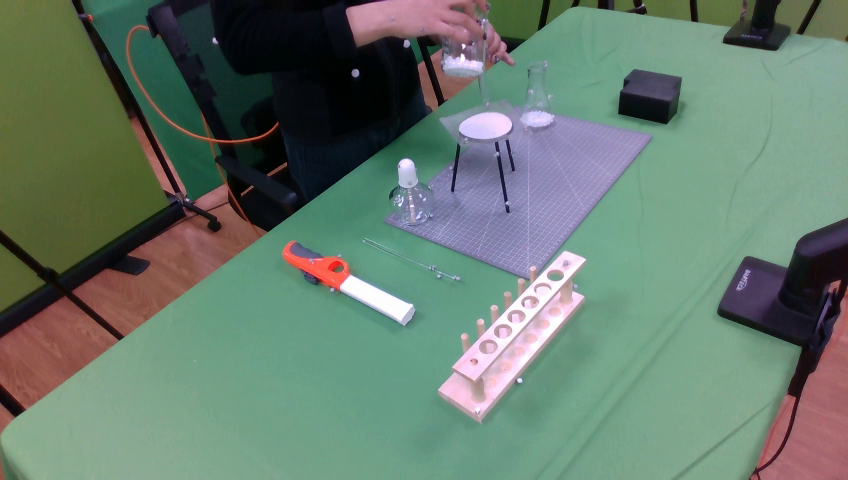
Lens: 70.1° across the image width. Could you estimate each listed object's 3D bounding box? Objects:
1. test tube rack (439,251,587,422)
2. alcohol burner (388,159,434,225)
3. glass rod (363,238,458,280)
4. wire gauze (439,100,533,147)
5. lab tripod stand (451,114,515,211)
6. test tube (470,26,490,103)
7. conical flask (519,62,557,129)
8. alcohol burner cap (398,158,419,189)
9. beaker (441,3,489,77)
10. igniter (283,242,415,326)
[{"bbox_3d":[0.118,0.111,0.780,0.066,0.085,0.243,26,51,35],"label":"test tube rack"},{"bbox_3d":[-0.023,-0.085,1.013,0.078,0.119,0.077,-4,38,4],"label":"alcohol burner"},{"bbox_3d":[-0.026,0.029,0.966,0.198,0.008,0.008,21,49,35],"label":"glass rod"},{"bbox_3d":[0.100,-0.190,0.994,0.125,0.011,0.120,-15,39,-7],"label":"wire gauze"},{"bbox_3d":[0.113,-0.140,1.037,0.148,0.132,0.147,-6,38,5],"label":"lab tripod stand"},{"bbox_3d":[0.101,-0.308,1.072,0.017,0.151,0.017,-8,46,9],"label":"test tube"},{"bbox_3d":[0.225,-0.287,1.198,0.075,0.122,0.075,-6,40,5],"label":"conical flask"},{"bbox_3d":[-0.027,-0.111,0.989,0.034,0.048,0.033,-3,47,4],"label":"alcohol burner cap"},{"bbox_3d":[0.066,-0.317,0.972,0.073,0.100,0.084,5,3,18],"label":"beaker"},{"bbox_3d":[-0.126,0.062,0.931,0.274,0.025,0.057,23,61,33],"label":"igniter"}]
